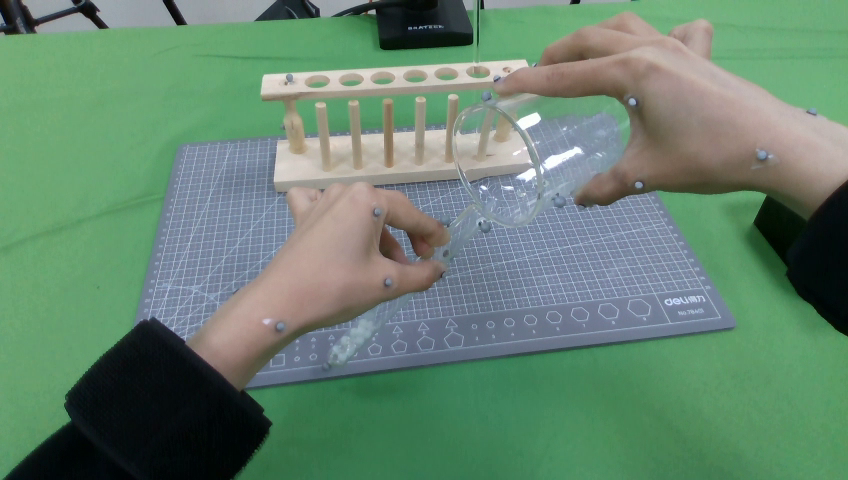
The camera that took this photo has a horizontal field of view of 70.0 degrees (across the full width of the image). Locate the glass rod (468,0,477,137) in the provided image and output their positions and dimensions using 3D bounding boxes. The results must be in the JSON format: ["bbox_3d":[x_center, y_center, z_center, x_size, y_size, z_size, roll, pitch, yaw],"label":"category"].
[{"bbox_3d":[0.044,-0.183,0.545,0.008,0.201,0.008,-1,39,2],"label":"glass rod"}]

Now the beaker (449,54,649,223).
[{"bbox_3d":[0.076,-0.061,0.360,0.100,0.084,0.073,-28,65,-26],"label":"beaker"}]

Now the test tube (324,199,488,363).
[{"bbox_3d":[-0.015,0.030,0.393,0.150,0.017,0.017,-46,47,17],"label":"test tube"}]

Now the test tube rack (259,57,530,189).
[{"bbox_3d":[-0.024,-0.110,0.566,0.243,0.086,0.066,-5,46,-5],"label":"test tube rack"}]
